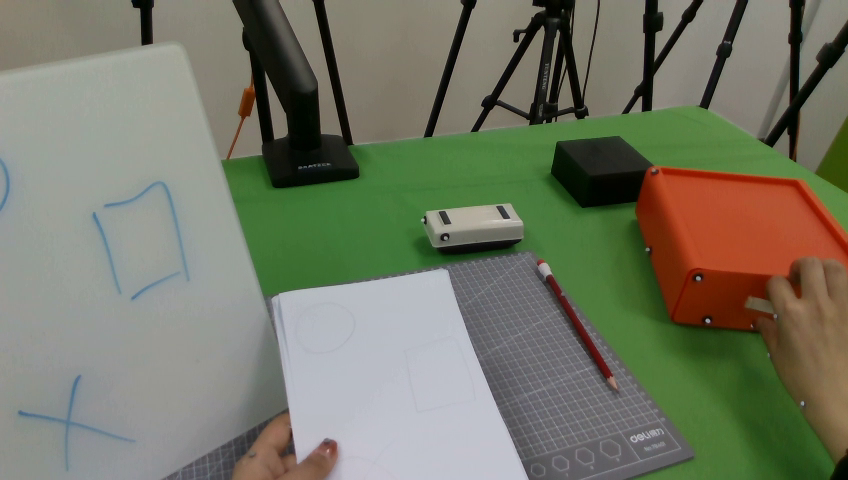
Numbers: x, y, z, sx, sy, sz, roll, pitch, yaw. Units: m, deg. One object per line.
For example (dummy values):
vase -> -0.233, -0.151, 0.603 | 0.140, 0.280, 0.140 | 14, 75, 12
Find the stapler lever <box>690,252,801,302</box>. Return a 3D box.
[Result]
stapler lever -> 0.339, 0.039, 0.636 | 0.118, 0.040, 0.026 | 7, 43, -2

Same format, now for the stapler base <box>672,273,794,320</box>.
stapler base -> 0.335, 0.055, 0.650 | 0.131, 0.024, 0.041 | 10, 43, -5

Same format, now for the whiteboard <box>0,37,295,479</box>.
whiteboard -> -0.260, 0.027, 0.458 | 0.217, 0.307, 0.142 | -25, 26, -33

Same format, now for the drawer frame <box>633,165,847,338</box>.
drawer frame -> 0.362, 0.004, 0.690 | 0.201, 0.083, 0.211 | 5, 35, 2

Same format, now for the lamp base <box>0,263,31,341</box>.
lamp base -> -0.468, 0.006, 0.523 | 0.178, 0.182, 0.160 | 14, 37, 18

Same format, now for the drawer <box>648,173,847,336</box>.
drawer -> 0.363, 0.007, 0.688 | 0.194, 0.074, 0.210 | 5, 35, 3

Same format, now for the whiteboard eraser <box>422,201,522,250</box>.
whiteboard eraser -> 0.057, -0.016, 0.725 | 0.113, 0.042, 0.055 | -5, 38, -13

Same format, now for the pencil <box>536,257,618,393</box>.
pencil -> 0.154, 0.080, 0.623 | 0.012, 0.012, 0.192 | -6, 40, -13
